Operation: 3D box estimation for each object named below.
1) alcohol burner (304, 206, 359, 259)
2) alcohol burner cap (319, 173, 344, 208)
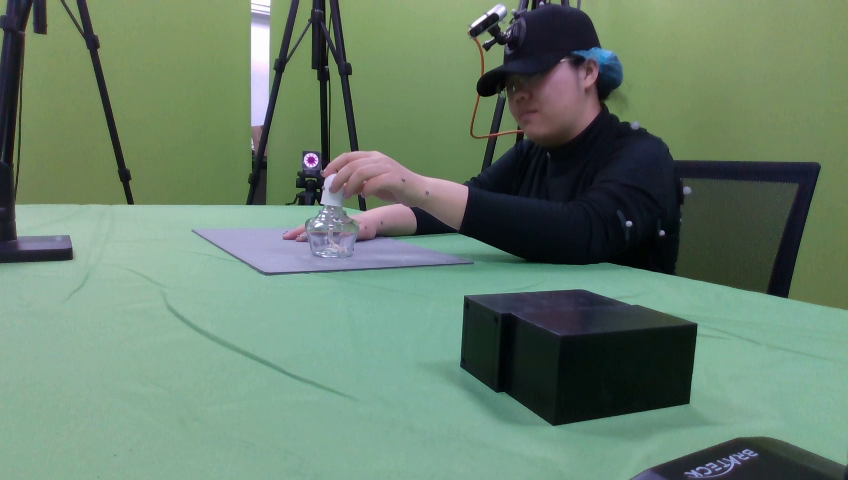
[{"bbox_3d":[-0.130,-0.034,0.851,0.078,0.119,0.078,2,5,0],"label":"alcohol burner"},{"bbox_3d":[-0.128,-0.070,0.848,0.034,0.048,0.034,8,5,0],"label":"alcohol burner cap"}]
